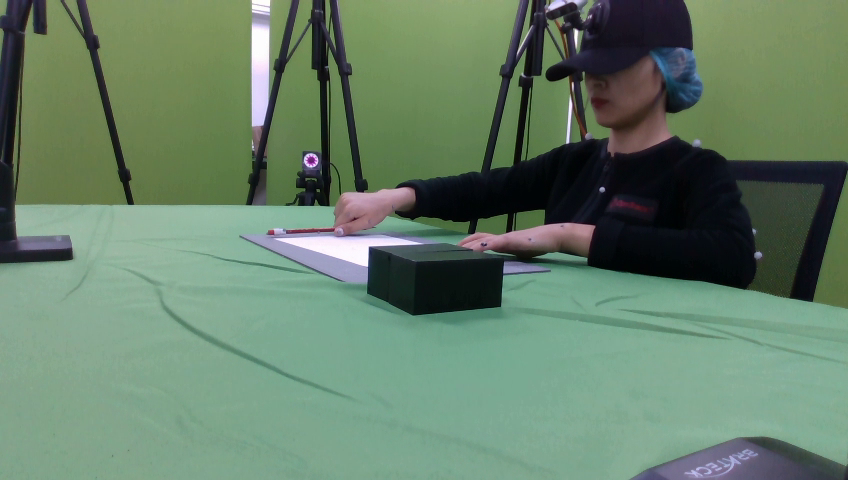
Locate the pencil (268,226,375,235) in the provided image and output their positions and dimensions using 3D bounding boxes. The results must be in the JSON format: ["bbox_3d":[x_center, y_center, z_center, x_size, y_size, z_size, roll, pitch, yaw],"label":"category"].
[{"bbox_3d":[-0.175,-0.018,1.058,0.195,0.012,0.012,-3,8,-27],"label":"pencil"}]
